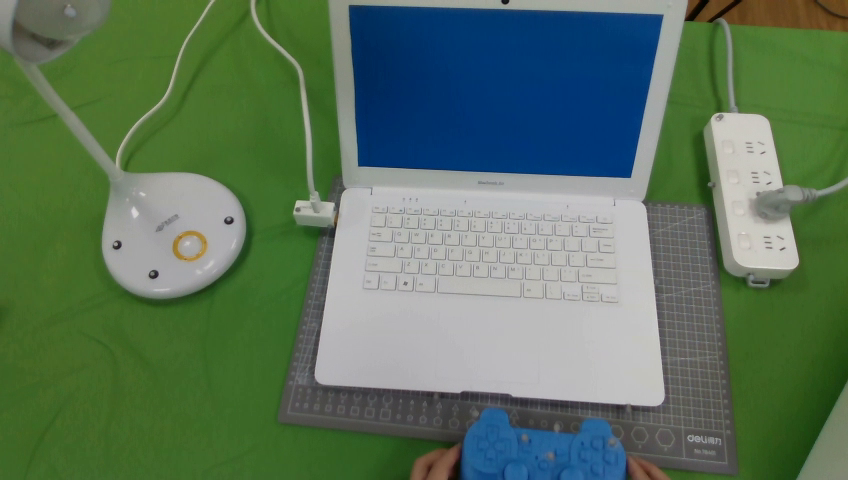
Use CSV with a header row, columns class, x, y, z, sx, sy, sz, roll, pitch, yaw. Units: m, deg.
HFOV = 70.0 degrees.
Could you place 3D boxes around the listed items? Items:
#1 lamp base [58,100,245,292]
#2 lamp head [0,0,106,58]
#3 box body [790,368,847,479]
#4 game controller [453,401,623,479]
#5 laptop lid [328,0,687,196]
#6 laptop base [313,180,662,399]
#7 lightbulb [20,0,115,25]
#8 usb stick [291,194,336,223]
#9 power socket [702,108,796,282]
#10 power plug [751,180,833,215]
class,x,y,z,sx,sy,sz,roll,pitch,yaw
lamp base,-0.300,-0.055,0.632,0.178,0.182,0.160,30,68,19
lamp head,-0.258,-0.186,0.357,0.123,0.112,0.112,32,66,-9
box body,0.526,0.152,0.517,0.252,0.161,0.363,36,70,18
game controller,0.105,0.202,0.553,0.155,0.052,0.096,5,66,6
laptop lid,0.078,-0.156,0.649,0.356,0.243,0.013,1,33,3
laptop base,0.069,0.047,0.661,0.354,0.023,0.234,3,67,3
lightbulb,-0.227,-0.180,0.354,0.059,0.059,0.108,-34,106,-14
usb stick,-0.119,-0.035,0.693,0.059,0.027,0.021,7,58,2
power socket,0.371,-0.061,0.699,0.072,0.033,0.225,4,63,2
power plug,0.398,-0.040,0.663,0.072,0.053,0.035,14,64,7
